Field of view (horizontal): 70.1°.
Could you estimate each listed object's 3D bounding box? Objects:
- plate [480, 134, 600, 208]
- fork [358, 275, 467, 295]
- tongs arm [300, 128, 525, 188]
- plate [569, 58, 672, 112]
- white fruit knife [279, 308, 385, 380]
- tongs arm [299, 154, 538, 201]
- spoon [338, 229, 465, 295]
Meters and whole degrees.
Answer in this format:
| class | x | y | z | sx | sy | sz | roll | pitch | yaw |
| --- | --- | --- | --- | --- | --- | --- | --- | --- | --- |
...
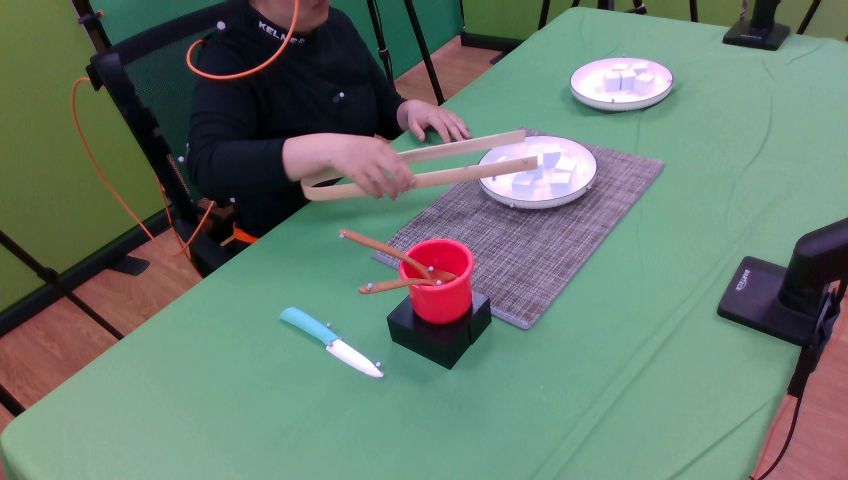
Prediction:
| class | x | y | z | sx | sy | sz | roll | pitch | yaw |
| --- | --- | --- | --- | --- | --- | --- | --- | --- | --- |
| plate | 0.202 | -0.117 | 1.065 | 0.207 | 0.039 | 0.206 | -5 | 40 | 5 |
| fork | -0.009 | 0.056 | 0.739 | 0.028 | 0.018 | 0.209 | 48 | 23 | 26 |
| tongs arm | -0.016 | -0.138 | 1.019 | 0.388 | 0.028 | 0.028 | -13 | 44 | -4 |
| plate | 0.411 | -0.323 | 1.274 | 0.209 | 0.038 | 0.208 | -5 | 41 | 5 |
| white fruit knife | -0.130 | 0.143 | 0.845 | 0.205 | 0.016 | 0.027 | 25 | 79 | 32 |
| tongs arm | -0.011 | -0.106 | 0.978 | 0.385 | 0.026 | 0.050 | -10 | 40 | 0 |
| spoon | -0.025 | 0.026 | 0.776 | 0.021 | 0.195 | 0.041 | -41 | 34 | 32 |
